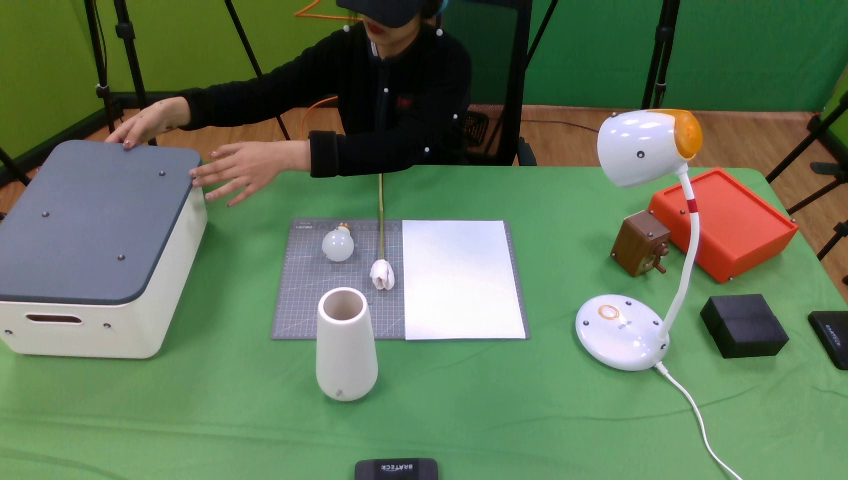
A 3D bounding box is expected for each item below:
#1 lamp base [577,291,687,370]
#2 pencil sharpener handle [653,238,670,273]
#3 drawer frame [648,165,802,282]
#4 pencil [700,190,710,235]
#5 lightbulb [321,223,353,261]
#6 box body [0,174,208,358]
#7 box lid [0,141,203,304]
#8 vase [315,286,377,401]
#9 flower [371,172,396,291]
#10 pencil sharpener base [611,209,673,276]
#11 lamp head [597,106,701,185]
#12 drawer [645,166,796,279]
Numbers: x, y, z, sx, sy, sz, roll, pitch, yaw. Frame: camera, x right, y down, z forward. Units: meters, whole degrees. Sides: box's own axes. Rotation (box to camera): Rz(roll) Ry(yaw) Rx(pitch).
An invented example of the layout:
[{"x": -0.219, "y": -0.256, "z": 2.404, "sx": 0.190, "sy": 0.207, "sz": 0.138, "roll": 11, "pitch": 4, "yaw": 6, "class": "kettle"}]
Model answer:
[{"x": 0.361, "y": 0.110, "z": 1.003, "sx": 0.160, "sy": 0.181, "sz": 0.178, "roll": -31, "pitch": 57, "yaw": -28, "class": "lamp base"}, {"x": 0.444, "y": 0.030, "z": 1.120, "sx": 0.036, "sy": 0.068, "sz": 0.030, "roll": -25, "pitch": 52, "yaw": -18, "class": "pencil sharpener handle"}, {"x": 0.603, "y": -0.040, "z": 1.233, "sx": 0.202, "sy": 0.083, "sz": 0.212, "roll": -21, "pitch": 51, "yaw": -23, "class": "drawer frame"}, {"x": 0.584, "y": -0.059, "z": 1.256, "sx": 0.012, "sy": 0.012, "sz": 0.193, "roll": 16, "pitch": 35, "yaw": 12, "class": "pencil"}, {"x": -0.163, "y": -0.001, "z": 1.164, "sx": 0.059, "sy": 0.060, "sz": 0.107, "roll": 4, "pitch": 30, "yaw": 0, "class": "lightbulb"}, {"x": -0.546, "y": 0.017, "z": 1.045, "sx": 0.254, "sy": 0.161, "sz": 0.361, "roll": 2, "pitch": 46, "yaw": -2, "class": "box body"}, {"x": -0.537, "y": -0.045, "z": 0.994, "sx": 0.263, "sy": 0.015, "sz": 0.369, "roll": 4, "pitch": 44, "yaw": -3, "class": "box lid"}, {"x": -0.119, "y": 0.159, "z": 0.911, "sx": 0.098, "sy": 0.201, "sz": 0.097, "roll": 2, "pitch": 47, "yaw": -2, "class": "vase"}, {"x": -0.090, "y": -0.034, "z": 1.228, "sx": 0.044, "sy": 0.038, "sz": 0.359, "roll": 22, "pitch": 35, "yaw": -25, "class": "flower"}, {"x": 0.416, "y": 0.007, "z": 1.158, "sx": 0.061, "sy": 0.107, "sz": 0.076, "roll": -21, "pitch": 51, "yaw": -22, "class": "pencil sharpener base"}, {"x": 0.328, "y": -0.138, "z": 0.865, "sx": 0.112, "sy": 0.113, "sz": 0.122, "roll": -36, "pitch": 20, "yaw": -32, "class": "lamp head"}, {"x": 0.600, "y": -0.041, "z": 1.236, "sx": 0.195, "sy": 0.073, "sz": 0.210, "roll": -21, "pitch": 51, "yaw": -23, "class": "drawer"}]
